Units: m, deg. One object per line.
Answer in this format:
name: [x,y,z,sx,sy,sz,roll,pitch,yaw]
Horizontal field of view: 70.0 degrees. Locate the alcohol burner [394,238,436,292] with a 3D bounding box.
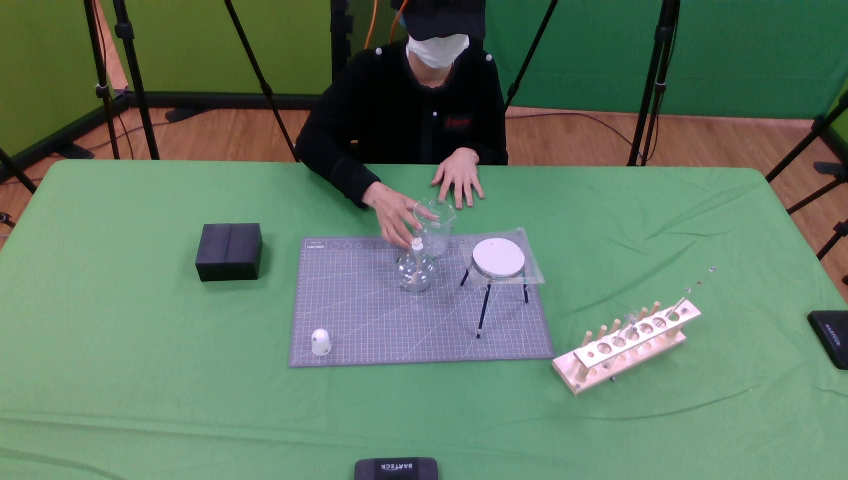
alcohol burner: [-0.016,0.038,1.093,0.078,0.119,0.077,2,48,-2]

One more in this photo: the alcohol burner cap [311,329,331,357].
alcohol burner cap: [-0.173,0.168,1.004,0.034,0.048,0.033,2,46,-2]

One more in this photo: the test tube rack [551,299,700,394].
test tube rack: [0.339,0.166,1.021,0.242,0.085,0.066,-19,50,-21]

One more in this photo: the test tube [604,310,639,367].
test tube: [0.310,0.158,0.957,0.017,0.151,0.017,1,49,-1]

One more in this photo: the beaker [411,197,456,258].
beaker: [0.014,-0.021,1.147,0.084,0.101,0.073,6,50,0]

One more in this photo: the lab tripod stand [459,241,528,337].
lab tripod stand: [0.122,0.075,1.054,0.148,0.132,0.147,3,44,-3]

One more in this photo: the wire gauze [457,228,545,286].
wire gauze: [0.126,0.029,1.006,0.125,0.011,0.120,-4,46,-10]

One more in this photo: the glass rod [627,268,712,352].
glass rod: [0.399,0.117,0.995,0.008,0.200,0.008,26,29,-15]
